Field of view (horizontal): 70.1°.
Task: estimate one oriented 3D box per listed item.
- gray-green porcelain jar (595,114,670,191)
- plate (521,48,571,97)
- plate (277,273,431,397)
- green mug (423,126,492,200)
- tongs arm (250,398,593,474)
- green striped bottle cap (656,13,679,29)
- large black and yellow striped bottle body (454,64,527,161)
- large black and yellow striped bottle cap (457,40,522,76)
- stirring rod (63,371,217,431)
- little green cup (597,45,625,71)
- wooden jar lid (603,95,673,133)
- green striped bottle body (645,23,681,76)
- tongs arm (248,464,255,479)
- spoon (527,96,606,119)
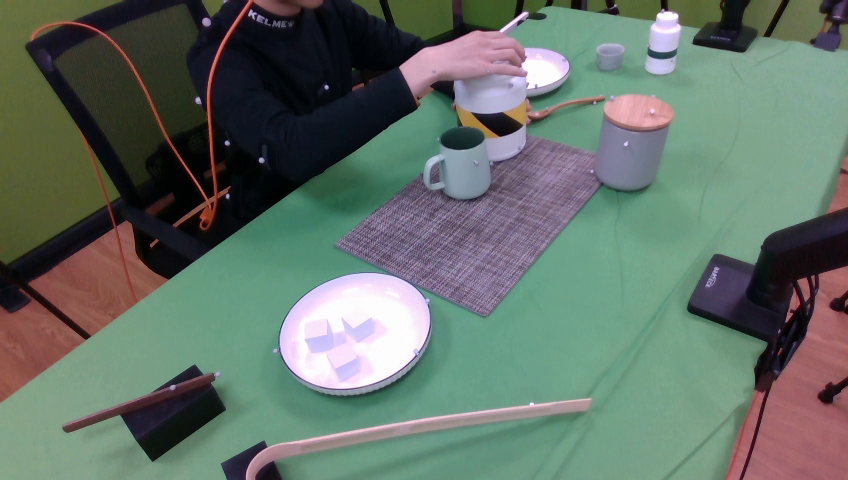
[{"bbox_3d":[0.346,-0.154,1.017,0.106,0.127,0.105,-2,44,2],"label":"gray-green porcelain jar"},{"bbox_3d":[0.223,-0.371,1.357,0.209,0.038,0.208,-4,41,4],"label":"plate"},{"bbox_3d":[-0.091,0.129,0.821,0.207,0.039,0.206,-4,40,4],"label":"plate"},{"bbox_3d":[0.055,-0.126,1.039,0.126,0.105,0.091,-26,44,-20],"label":"green mug"},{"bbox_3d":[0.008,0.212,0.675,0.389,0.028,0.028,-5,46,-11],"label":"tongs arm"},{"bbox_3d":[0.515,-0.463,1.278,0.044,0.020,0.044,-6,42,6],"label":"green striped bottle cap"},{"bbox_3d":[0.125,-0.254,1.116,0.131,0.185,0.130,-4,41,4],"label":"large black and yellow striped bottle body"},{"bbox_3d":[0.115,-0.319,1.059,0.115,0.019,0.114,-3,40,3],"label":"large black and yellow striped bottle cap"},{"bbox_3d":[-0.337,0.192,0.723,0.177,0.014,0.005,-18,43,-12],"label":"stirring rod"},{"bbox_3d":[0.423,-0.413,1.376,0.061,0.039,0.061,-3,41,3],"label":"little green cup"},{"bbox_3d":[0.343,-0.200,0.974,0.108,0.021,0.108,-1,39,2],"label":"wooden jar lid"},{"bbox_3d":[0.520,-0.424,1.312,0.063,0.120,0.063,-4,41,4],"label":"green striped bottle body"},{"bbox_3d":[0.012,0.262,0.615,0.385,0.026,0.050,3,42,-2],"label":"tongs arm"},{"bbox_3d":[0.291,-0.277,1.249,0.194,0.022,0.041,-17,27,-11],"label":"spoon"}]
